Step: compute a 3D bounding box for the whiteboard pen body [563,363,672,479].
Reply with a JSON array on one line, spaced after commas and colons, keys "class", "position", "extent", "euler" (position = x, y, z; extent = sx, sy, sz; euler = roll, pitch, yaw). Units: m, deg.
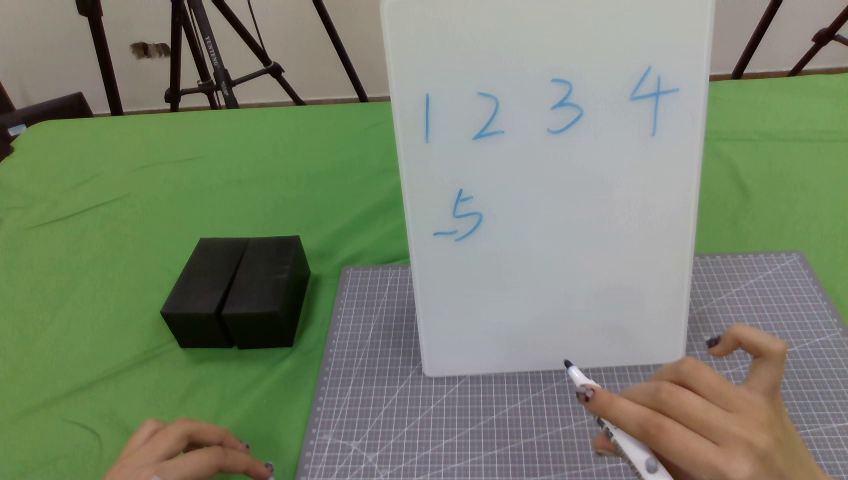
[{"class": "whiteboard pen body", "position": [0.118, 0.120, 0.341], "extent": [0.017, 0.017, 0.139], "euler": [-19, 44, -14]}]

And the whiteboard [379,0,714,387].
[{"class": "whiteboard", "position": [0.095, -0.052, 0.506], "extent": [0.217, 0.307, 0.143], "euler": [-4, 22, 4]}]
